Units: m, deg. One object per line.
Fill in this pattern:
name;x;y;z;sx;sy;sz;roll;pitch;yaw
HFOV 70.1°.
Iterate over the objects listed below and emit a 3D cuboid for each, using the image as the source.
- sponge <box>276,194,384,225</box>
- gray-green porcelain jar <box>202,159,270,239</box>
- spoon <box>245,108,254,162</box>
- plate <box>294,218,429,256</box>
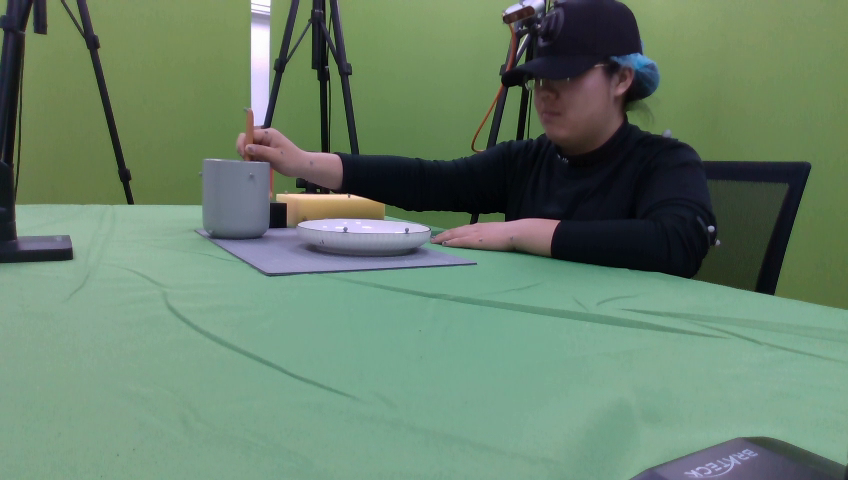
sponge;-0.203;-0.066;1.311;0.208;0.061;0.117;-2;8;-35
gray-green porcelain jar;-0.310;-0.068;0.999;0.106;0.126;0.106;3;8;0
spoon;-0.295;-0.120;1.002;0.021;0.193;0.042;17;9;43
plate;-0.096;-0.005;0.936;0.208;0.039;0.207;3;7;0
